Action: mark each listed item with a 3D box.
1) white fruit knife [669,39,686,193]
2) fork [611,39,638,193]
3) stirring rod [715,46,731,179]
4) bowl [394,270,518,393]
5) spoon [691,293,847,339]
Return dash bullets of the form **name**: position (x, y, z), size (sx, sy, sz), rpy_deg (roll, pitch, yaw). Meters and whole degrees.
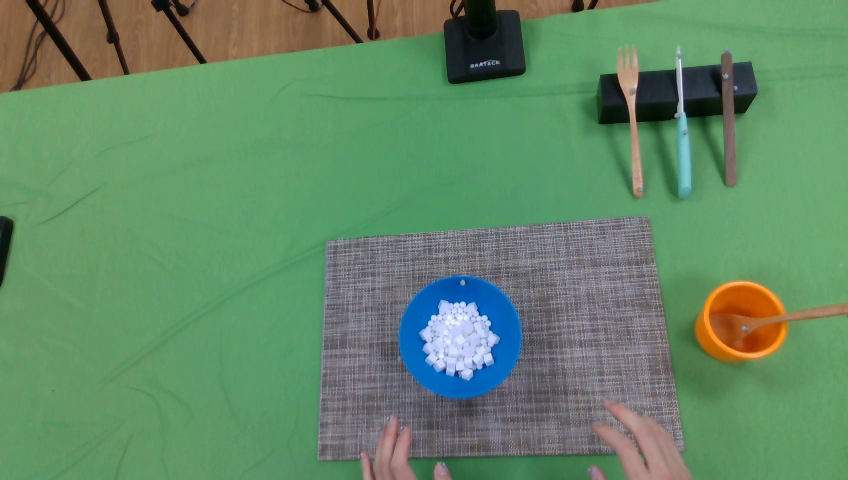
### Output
- **white fruit knife**: position (0.338, -0.169, 0.816), size (0.016, 0.027, 0.207), rpy_deg (-2, 87, 5)
- **fork**: position (0.276, -0.168, 0.826), size (0.028, 0.018, 0.207), rpy_deg (-6, 90, 4)
- **stirring rod**: position (0.400, -0.169, 0.811), size (0.014, 0.006, 0.176), rpy_deg (-3, 96, 15)
- **bowl**: position (0.043, 0.120, 0.761), size (0.151, 0.077, 0.150), rpy_deg (-3, 71, 8)
- **spoon**: position (0.399, 0.082, 0.688), size (0.022, 0.193, 0.041), rpy_deg (13, 67, -34)
